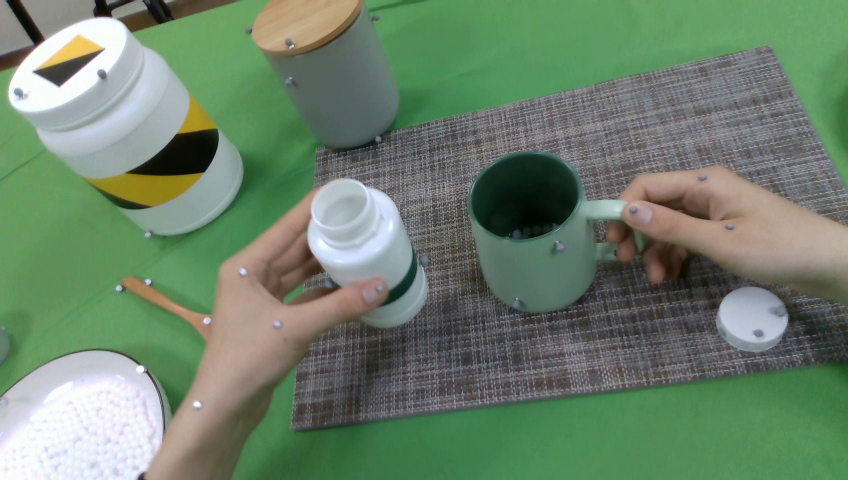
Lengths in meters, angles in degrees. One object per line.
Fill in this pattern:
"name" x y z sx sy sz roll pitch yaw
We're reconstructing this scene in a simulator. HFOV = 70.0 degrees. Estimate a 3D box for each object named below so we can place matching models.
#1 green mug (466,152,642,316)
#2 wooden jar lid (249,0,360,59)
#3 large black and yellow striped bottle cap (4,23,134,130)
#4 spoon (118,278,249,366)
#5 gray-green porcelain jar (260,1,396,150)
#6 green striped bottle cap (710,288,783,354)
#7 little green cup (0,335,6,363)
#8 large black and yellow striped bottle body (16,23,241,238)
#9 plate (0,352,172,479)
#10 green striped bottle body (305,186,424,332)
"green mug" 0.096 -0.003 0.448 0.125 0.106 0.092 -2 57 16
"wooden jar lid" -0.106 -0.198 0.550 0.108 0.021 0.107 -10 54 15
"large black and yellow striped bottle cap" -0.303 -0.142 0.518 0.115 0.019 0.114 -8 55 12
"spoon" -0.228 0.067 0.562 0.192 0.022 0.041 20 85 27
"gray-green porcelain jar" -0.090 -0.161 0.599 0.105 0.128 0.105 -9 52 12
"green striped bottle cap" 0.226 0.056 0.426 0.044 0.020 0.044 -8 52 11
"little green cup" -0.449 0.109 0.595 0.061 0.039 0.061 -8 56 12
"large black and yellow striped bottle body" -0.279 -0.100 0.586 0.130 0.186 0.129 -8 57 13
"plate" -0.295 0.194 0.492 0.209 0.038 0.207 -8 56 12
"green striped bottle body" -0.041 0.013 0.423 0.063 0.120 0.062 -6 57 10
